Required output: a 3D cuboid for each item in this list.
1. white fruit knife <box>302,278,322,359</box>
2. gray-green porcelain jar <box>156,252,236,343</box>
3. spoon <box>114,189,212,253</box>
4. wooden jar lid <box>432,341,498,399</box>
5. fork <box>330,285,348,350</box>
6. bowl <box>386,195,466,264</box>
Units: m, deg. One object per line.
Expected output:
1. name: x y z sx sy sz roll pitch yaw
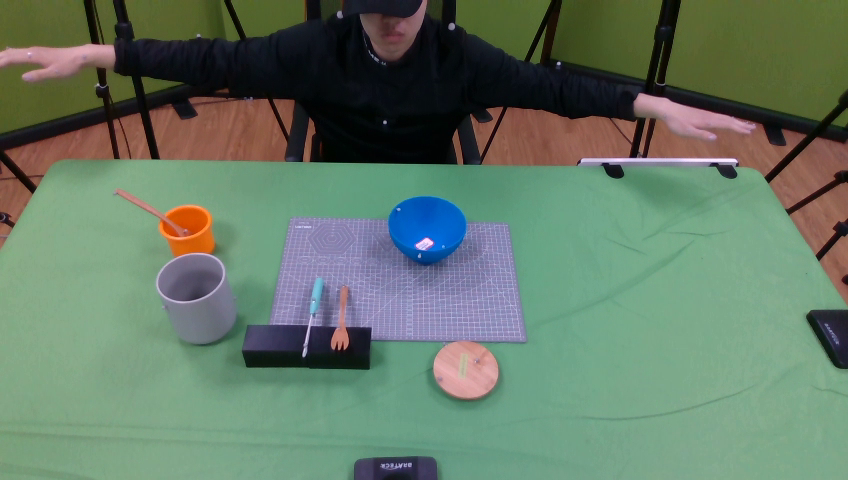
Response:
1. white fruit knife: -0.189 0.126 1.020 0.016 0.027 0.206 0 33 -2
2. gray-green porcelain jar: -0.371 0.100 0.999 0.106 0.127 0.105 2 46 -2
3. spoon: -0.475 -0.037 1.109 0.021 0.195 0.041 -29 34 32
4. wooden jar lid: 0.067 0.216 0.997 0.108 0.021 0.107 1 46 -1
5. fork: -0.140 0.127 1.021 0.028 0.019 0.206 -5 28 -2
6. bowl: 0.003 -0.007 1.162 0.151 0.077 0.150 2 46 -2
